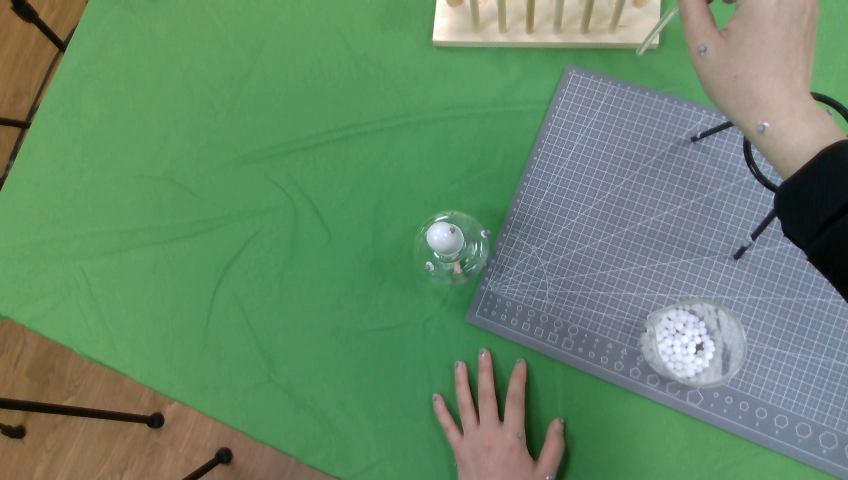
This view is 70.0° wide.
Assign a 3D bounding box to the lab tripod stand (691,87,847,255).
[{"bbox_3d":[0.314,-0.065,0.545,0.148,0.132,0.148,-1,83,9],"label":"lab tripod stand"}]

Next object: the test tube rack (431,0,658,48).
[{"bbox_3d":[0.123,-0.253,0.633,0.242,0.085,0.066,4,82,10],"label":"test tube rack"}]

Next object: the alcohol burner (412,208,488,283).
[{"bbox_3d":[0.023,0.002,0.599,0.078,0.120,0.077,-1,79,8],"label":"alcohol burner"}]

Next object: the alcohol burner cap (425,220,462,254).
[{"bbox_3d":[0.016,-0.004,0.564,0.034,0.048,0.034,-1,85,11],"label":"alcohol burner cap"}]

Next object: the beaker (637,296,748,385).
[{"bbox_3d":[0.235,0.089,0.553,0.083,0.101,0.074,28,86,14],"label":"beaker"}]

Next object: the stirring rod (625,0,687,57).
[{"bbox_3d":[0.176,-0.170,0.414,0.014,0.176,0.006,22,79,2],"label":"stirring rod"}]

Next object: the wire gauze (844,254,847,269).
[{"bbox_3d":[0.476,-0.002,0.571,0.124,0.011,0.121,26,86,10],"label":"wire gauze"}]
